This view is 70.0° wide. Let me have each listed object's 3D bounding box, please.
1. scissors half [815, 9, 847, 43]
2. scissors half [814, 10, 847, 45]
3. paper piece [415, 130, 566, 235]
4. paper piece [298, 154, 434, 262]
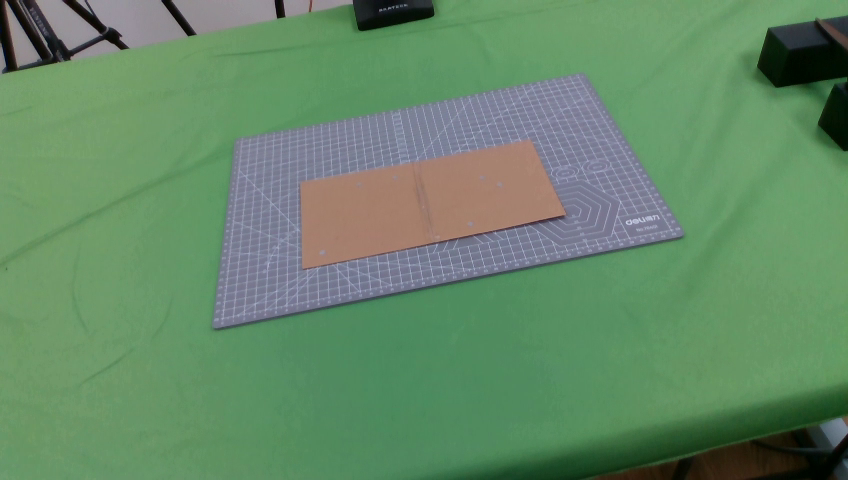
[{"bbox_3d":[0.469,-0.208,0.637,0.040,0.013,0.173,-19,45,0],"label":"scissors half"},{"bbox_3d":[0.449,-0.203,0.638,0.040,0.013,0.173,-3,46,8],"label":"scissors half"},{"bbox_3d":[0.065,-0.066,0.644,0.135,0.004,0.134,-12,46,0],"label":"paper piece"},{"bbox_3d":[-0.066,-0.039,0.642,0.138,0.009,0.134,-11,44,0],"label":"paper piece"}]
